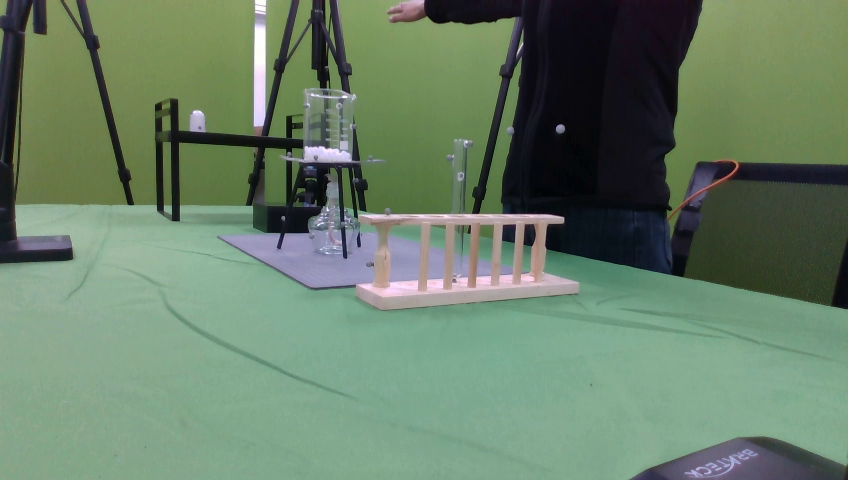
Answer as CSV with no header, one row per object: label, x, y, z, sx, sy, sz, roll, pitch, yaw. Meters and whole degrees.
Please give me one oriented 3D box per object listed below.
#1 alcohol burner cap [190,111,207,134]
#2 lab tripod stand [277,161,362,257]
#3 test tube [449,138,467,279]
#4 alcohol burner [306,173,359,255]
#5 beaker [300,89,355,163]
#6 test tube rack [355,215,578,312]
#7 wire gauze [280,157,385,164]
alcohol burner cap,-0.469,-0.244,1.257,0.034,0.048,0.034,1,6,0
lab tripod stand,-0.143,-0.049,0.884,0.148,0.131,0.148,2,9,0
test tube,0.035,-0.033,0.645,0.017,0.150,0.017,3,4,0
alcohol burner,-0.133,-0.038,0.883,0.078,0.119,0.078,1,6,0
beaker,-0.136,-0.161,0.867,0.083,0.100,0.074,5,8,24
test tube rack,0.053,0.019,0.640,0.243,0.085,0.066,-1,8,-29
wire gauze,-0.134,-0.113,0.875,0.122,0.011,0.124,-1,6,-30
